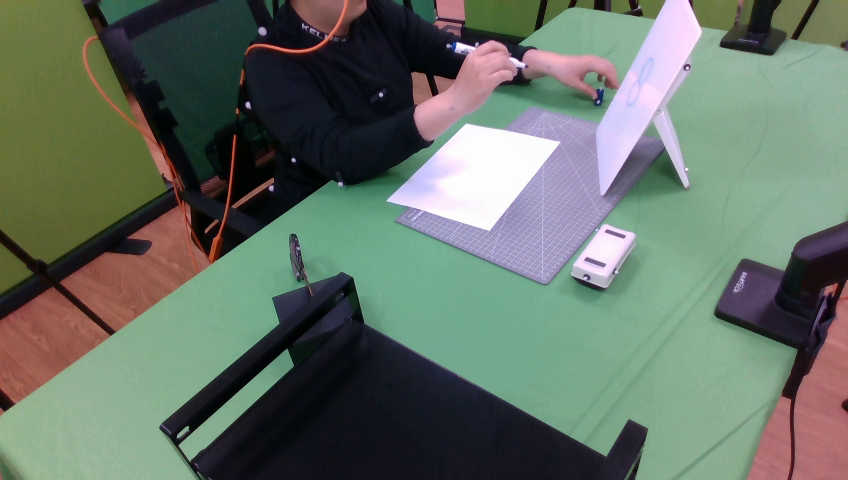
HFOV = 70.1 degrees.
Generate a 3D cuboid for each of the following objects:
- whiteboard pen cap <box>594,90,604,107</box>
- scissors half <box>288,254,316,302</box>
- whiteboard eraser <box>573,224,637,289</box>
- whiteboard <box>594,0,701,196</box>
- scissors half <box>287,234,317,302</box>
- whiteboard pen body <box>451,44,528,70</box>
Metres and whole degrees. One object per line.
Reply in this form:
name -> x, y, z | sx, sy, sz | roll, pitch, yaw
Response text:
whiteboard pen cap -> 0.365, -0.295, 1.262 | 0.018, 0.033, 0.018 | -4, 40, 3
scissors half -> -0.178, 0.058, 0.894 | 0.013, 0.040, 0.174 | -16, 21, -18
whiteboard eraser -> 0.267, 0.025, 0.891 | 0.055, 0.042, 0.113 | 19, 47, 31
whiteboard -> 0.420, -0.227, 1.010 | 0.144, 0.305, 0.216 | 18, 42, -2
scissors half -> -0.179, 0.040, 0.885 | 0.013, 0.040, 0.173 | -11, 36, -21
whiteboard pen body -> 0.114, -0.312, 1.037 | 0.141, 0.017, 0.017 | 11, 39, -12
